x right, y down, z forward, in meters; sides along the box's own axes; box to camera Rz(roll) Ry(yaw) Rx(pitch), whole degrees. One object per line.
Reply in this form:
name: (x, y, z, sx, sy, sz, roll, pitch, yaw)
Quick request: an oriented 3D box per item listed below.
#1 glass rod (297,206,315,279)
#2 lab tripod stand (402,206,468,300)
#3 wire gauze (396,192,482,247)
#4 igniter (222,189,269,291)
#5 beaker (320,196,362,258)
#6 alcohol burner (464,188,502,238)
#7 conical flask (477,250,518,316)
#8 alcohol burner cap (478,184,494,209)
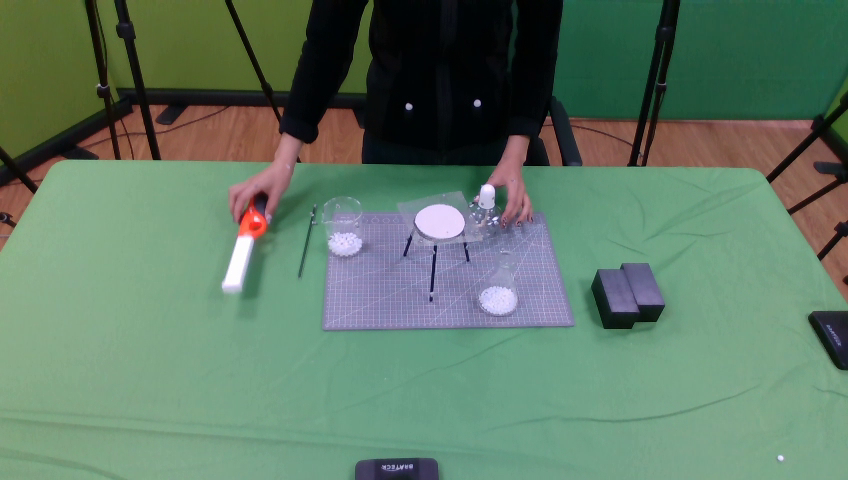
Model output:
glass rod: (-0.231, 0.000, 1.191, 0.008, 0.008, 0.198, 2, 46, -1)
lab tripod stand: (0.023, 0.013, 1.108, 0.148, 0.132, 0.147, 3, 44, -2)
wire gauze: (0.025, -0.036, 1.061, 0.125, 0.011, 0.120, -9, 47, -14)
igniter: (-0.334, -0.009, 1.144, 0.057, 0.025, 0.275, -2, 41, 0)
beaker: (-0.156, -0.021, 1.150, 0.084, 0.101, 0.073, -30, 54, -28)
alcohol burner: (0.120, -0.061, 1.201, 0.078, 0.119, 0.077, 4, 47, -4)
conical flask: (0.136, 0.072, 1.067, 0.075, 0.122, 0.075, 2, 46, -2)
alcohol burner cap: (0.121, -0.086, 1.175, 0.034, 0.048, 0.033, 0, 42, 0)
